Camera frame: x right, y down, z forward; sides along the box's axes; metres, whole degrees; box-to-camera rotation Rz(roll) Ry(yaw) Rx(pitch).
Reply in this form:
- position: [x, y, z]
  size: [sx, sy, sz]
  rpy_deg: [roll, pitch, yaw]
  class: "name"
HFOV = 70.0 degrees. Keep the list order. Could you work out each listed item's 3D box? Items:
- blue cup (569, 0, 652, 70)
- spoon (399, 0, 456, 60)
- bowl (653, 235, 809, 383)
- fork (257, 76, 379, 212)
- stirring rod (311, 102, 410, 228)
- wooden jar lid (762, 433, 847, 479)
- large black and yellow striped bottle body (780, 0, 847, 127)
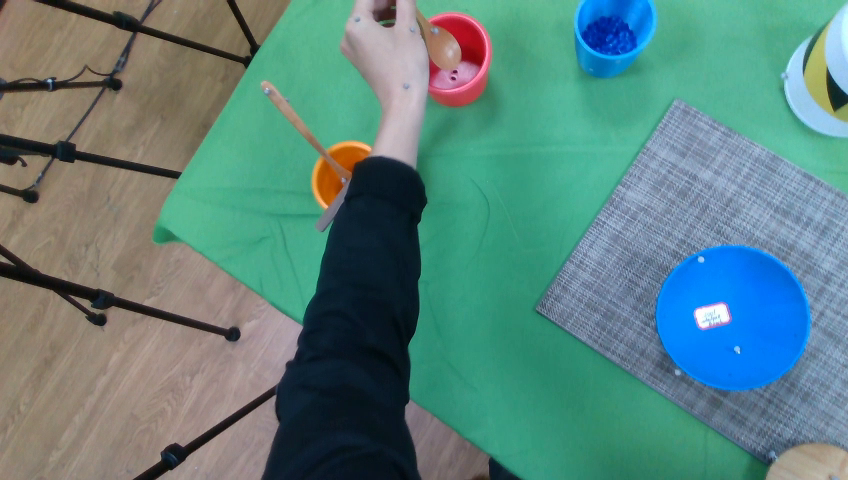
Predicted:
- position: [0.205, -0.238, 0.688]
  size: [0.092, 0.100, 0.092]
  rpy_deg: [0, 88, 9]
  class: "blue cup"
- position: [-0.017, -0.239, 0.612]
  size: [0.021, 0.195, 0.041]
  rpy_deg: [22, 89, 30]
  class: "spoon"
- position: [0.319, 0.074, 0.657]
  size: [0.151, 0.077, 0.151]
  rpy_deg: [-1, 86, 9]
  class: "bowl"
- position: [-0.121, -0.108, 0.707]
  size: [0.028, 0.018, 0.209]
  rpy_deg: [-31, 126, 14]
  class: "fork"
- position: [-0.073, -0.086, 0.697]
  size: [0.014, 0.006, 0.176]
  rpy_deg: [38, 93, 7]
  class: "stirring rod"
- position: [0.425, 0.263, 0.657]
  size: [0.108, 0.021, 0.108]
  rpy_deg: [0, 91, 13]
  class: "wooden jar lid"
- position: [0.459, -0.199, 0.603]
  size: [0.130, 0.184, 0.130]
  rpy_deg: [-1, 86, 9]
  class: "large black and yellow striped bottle body"
